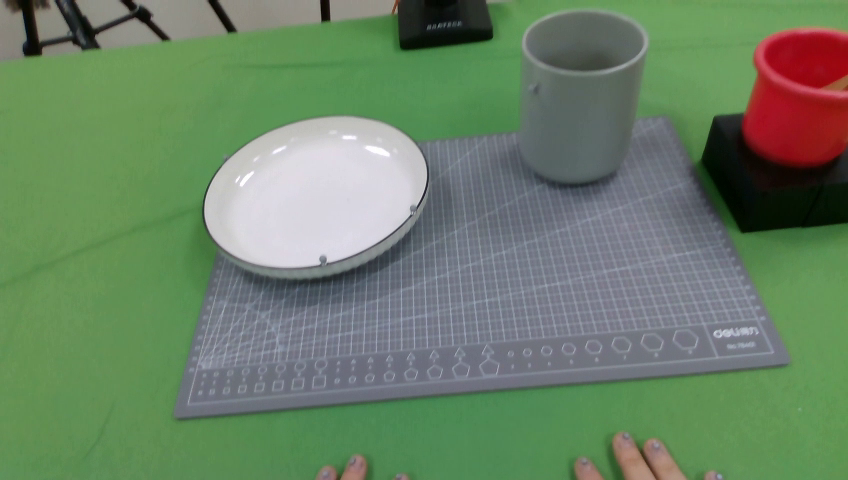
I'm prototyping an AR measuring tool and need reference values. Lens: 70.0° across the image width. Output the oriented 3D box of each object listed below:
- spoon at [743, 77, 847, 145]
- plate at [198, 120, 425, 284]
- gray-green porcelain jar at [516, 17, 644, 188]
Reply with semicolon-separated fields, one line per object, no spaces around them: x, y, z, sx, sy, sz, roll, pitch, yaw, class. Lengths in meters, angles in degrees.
0.341;-0.127;0.458;0.022;0.194;0.041;32;45;-26;spoon
-0.101;-0.035;0.568;0.207;0.039;0.205;-3;47;4;plate
0.138;-0.120;0.556;0.106;0.128;0.105;-4;47;4;gray-green porcelain jar
